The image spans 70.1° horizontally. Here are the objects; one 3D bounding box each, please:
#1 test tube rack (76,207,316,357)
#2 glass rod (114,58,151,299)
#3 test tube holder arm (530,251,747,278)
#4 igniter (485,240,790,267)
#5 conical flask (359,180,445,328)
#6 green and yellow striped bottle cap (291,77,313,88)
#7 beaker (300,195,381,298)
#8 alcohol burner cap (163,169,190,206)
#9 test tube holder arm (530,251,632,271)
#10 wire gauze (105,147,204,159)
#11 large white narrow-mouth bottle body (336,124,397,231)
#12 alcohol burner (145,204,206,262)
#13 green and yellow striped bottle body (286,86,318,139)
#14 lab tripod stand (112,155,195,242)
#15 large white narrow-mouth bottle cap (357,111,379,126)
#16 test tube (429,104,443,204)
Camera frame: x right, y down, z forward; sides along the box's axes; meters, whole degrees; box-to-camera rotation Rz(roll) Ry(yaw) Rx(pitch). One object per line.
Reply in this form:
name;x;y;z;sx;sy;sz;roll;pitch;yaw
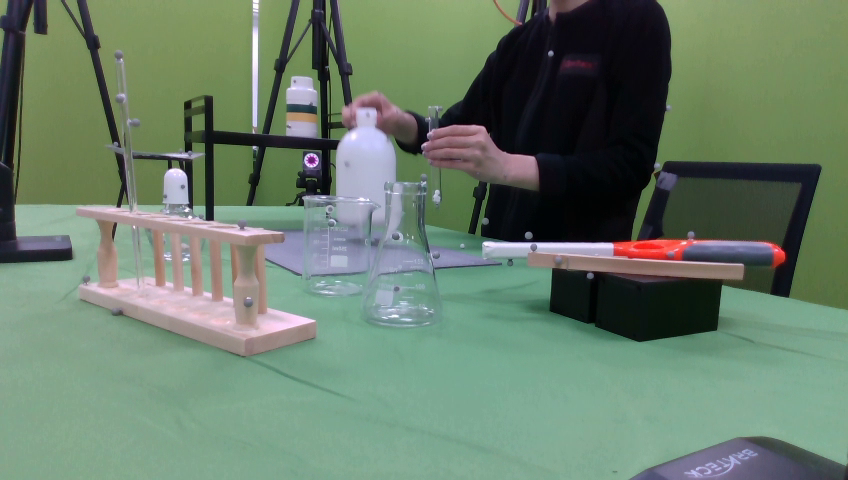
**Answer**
test tube rack;-0.196;0.023;0.500;0.241;0.085;0.067;8;9;36
glass rod;-0.236;-0.044;0.492;0.008;0.199;0.008;0;15;0
test tube holder arm;0.182;0.022;0.523;0.178;0.015;0.013;3;7;12
igniter;0.197;0.012;0.585;0.276;0.025;0.057;1;5;12
conical flask;-0.017;0.010;0.522;0.075;0.122;0.075;2;7;0
green and yellow striped bottle cap;-0.250;-0.321;1.238;0.045;0.020;0.045;3;6;0
beaker;-0.087;0.006;0.626;0.084;0.100;0.074;1;8;-17
alcohol burner cap;-0.320;-0.068;0.782;0.034;0.048;0.034;1;7;0
test tube holder arm;0.139;0.019;0.538;0.087;0.015;0.010;3;7;13
wire gauze;-0.407;-0.131;0.928;0.125;0.011;0.121;2;6;-11
large white narrow-mouth bottle body;-0.096;-0.115;1.011;0.102;0.194;0.102;2;6;0
alcohol burner;-0.321;-0.032;0.788;0.078;0.119;0.078;0;7;0
green and yellow striped bottle body;-0.251;-0.270;1.245;0.063;0.119;0.063;2;7;0
lab tripod stand;-0.405;-0.064;0.931;0.148;0.131;0.148;1;7;0
large white narrow-mouth bottle cap;-0.092;-0.200;1.001;0.038;0.024;0.037;2;6;0
test tube;0.018;-0.130;0.920;0.017;0.150;0.017;-3;11;1
